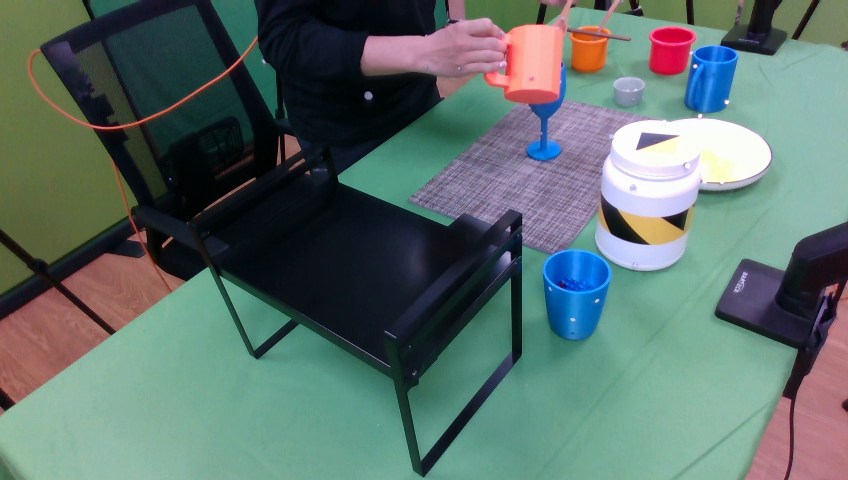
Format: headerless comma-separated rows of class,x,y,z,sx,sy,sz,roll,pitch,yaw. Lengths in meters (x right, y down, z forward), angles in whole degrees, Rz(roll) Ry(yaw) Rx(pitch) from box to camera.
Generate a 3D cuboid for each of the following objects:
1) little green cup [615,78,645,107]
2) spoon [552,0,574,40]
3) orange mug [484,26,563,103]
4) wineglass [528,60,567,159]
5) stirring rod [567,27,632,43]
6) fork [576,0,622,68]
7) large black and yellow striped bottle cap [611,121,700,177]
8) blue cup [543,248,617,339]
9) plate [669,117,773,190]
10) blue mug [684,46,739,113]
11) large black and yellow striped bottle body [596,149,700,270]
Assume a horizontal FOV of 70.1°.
little green cup,0.426,-0.306,1.257,0.061,0.039,0.061,-4,40,4
spoon,0.250,-0.400,1.023,0.041,0.022,0.193,17,74,45
orange mug,0.153,-0.272,0.934,0.127,0.100,0.083,8,-2,-17
wineglass,0.221,-0.236,1.097,0.074,0.173,0.073,-5,41,4
stirring rod,0.381,-0.462,1.356,0.175,0.006,0.014,23,48,30
fork,0.409,-0.484,1.381,0.028,0.019,0.207,37,101,46
large black and yellow striped bottle cap,0.315,-0.126,0.823,0.115,0.019,0.114,-4,42,4
blue cup,0.199,0.076,0.797,0.092,0.100,0.092,-4,39,4
plate,0.495,-0.148,1.063,0.209,0.038,0.208,-5,40,4
blue mug,0.556,-0.311,1.190,0.117,0.106,0.081,-32,46,-25
large black and yellow striped bottle body,0.323,-0.062,0.877,0.131,0.185,0.130,-5,40,4
